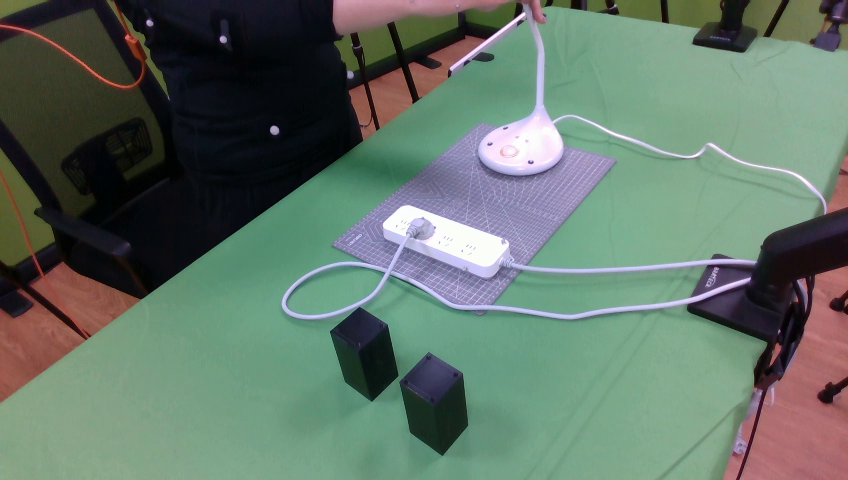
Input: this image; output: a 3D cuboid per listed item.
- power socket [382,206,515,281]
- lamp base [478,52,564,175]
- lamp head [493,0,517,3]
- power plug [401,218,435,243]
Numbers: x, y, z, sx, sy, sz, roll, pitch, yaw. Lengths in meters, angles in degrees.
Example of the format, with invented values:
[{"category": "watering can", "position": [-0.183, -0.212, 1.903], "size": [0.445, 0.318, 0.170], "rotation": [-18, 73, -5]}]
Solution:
[{"category": "power socket", "position": [0.032, 0.002, 0.950], "size": [0.225, 0.033, 0.072], "rotation": [21, 49, 29]}, {"category": "lamp base", "position": [0.181, -0.236, 1.095], "size": [0.159, 0.181, 0.179], "rotation": [20, 44, 28]}, {"category": "lamp head", "position": [0.121, -0.418, 0.860], "size": [0.111, 0.113, 0.123], "rotation": [24, 72, 32]}, {"category": "power plug", "position": [-0.015, -0.006, 0.937], "size": [0.073, 0.053, 0.035], "rotation": [-37, 47, -26]}]
